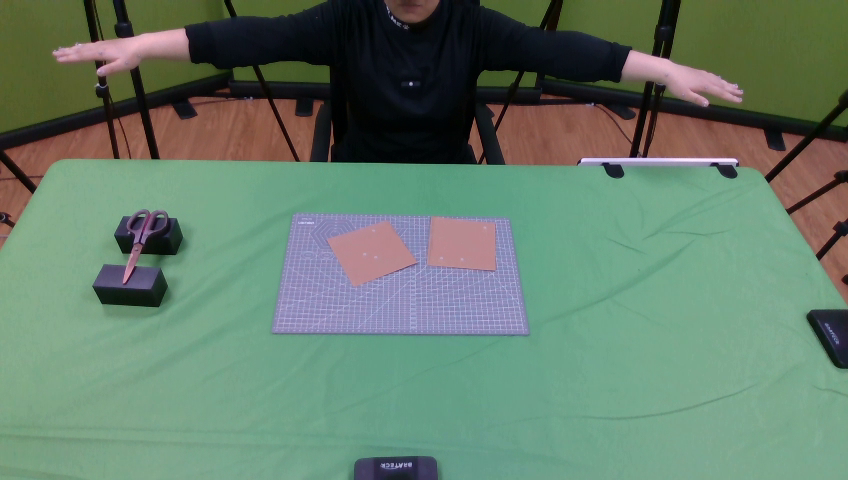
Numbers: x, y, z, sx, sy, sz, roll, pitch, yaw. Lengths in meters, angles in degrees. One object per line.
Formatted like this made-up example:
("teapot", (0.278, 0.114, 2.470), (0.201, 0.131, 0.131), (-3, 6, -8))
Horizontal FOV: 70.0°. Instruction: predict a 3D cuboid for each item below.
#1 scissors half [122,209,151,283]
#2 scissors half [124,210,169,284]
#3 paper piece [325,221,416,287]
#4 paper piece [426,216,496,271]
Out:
("scissors half", (-0.521, 0.009, 1.085), (0.040, 0.013, 0.174), (0, 48, -14))
("scissors half", (-0.501, 0.010, 1.088), (0.040, 0.013, 0.174), (8, 48, 1))
("paper piece", (-0.105, 0.022, 1.174), (0.135, 0.004, 0.135), (-19, 50, -21))
("paper piece", (0.075, 0.006, 1.204), (0.138, 0.009, 0.135), (6, 49, 1))
